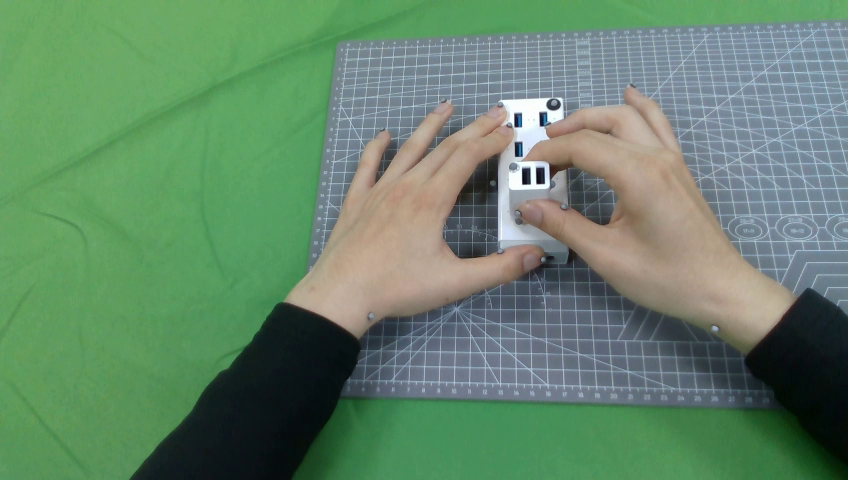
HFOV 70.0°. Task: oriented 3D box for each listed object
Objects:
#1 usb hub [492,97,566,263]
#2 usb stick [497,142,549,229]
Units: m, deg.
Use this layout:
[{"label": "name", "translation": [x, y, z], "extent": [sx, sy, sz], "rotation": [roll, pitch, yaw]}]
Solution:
[{"label": "usb hub", "translation": [0.074, -0.045, 0.434], "extent": [0.049, 0.025, 0.124], "rotation": [0, 67, 6]}, {"label": "usb stick", "translation": [0.063, -0.035, 0.384], "extent": [0.027, 0.060, 0.021], "rotation": [-26, 53, -8]}]
